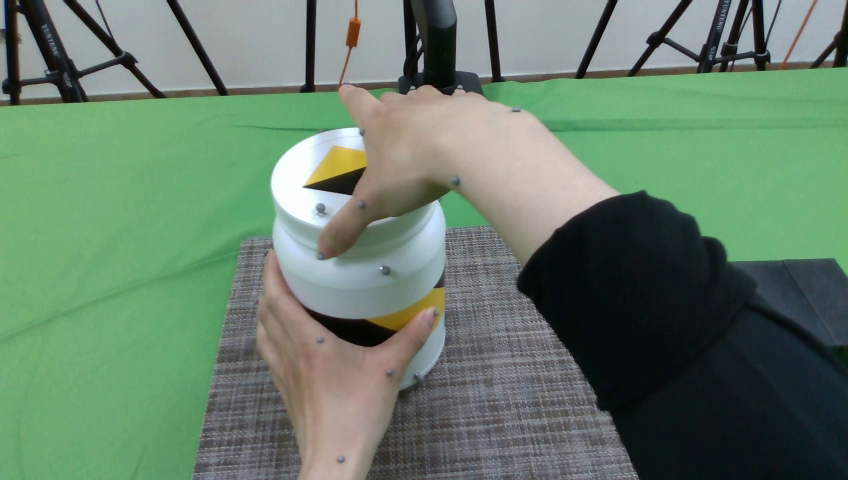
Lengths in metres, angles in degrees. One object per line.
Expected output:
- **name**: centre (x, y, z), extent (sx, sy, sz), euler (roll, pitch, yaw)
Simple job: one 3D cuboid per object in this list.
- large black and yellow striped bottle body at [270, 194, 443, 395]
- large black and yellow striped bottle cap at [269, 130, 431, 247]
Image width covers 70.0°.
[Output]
- **large black and yellow striped bottle body**: centre (-0.049, 0.024, 0.489), extent (0.131, 0.185, 0.129), euler (0, 43, 1)
- **large black and yellow striped bottle cap**: centre (-0.052, -0.040, 0.429), extent (0.115, 0.019, 0.114), euler (1, 43, 0)
